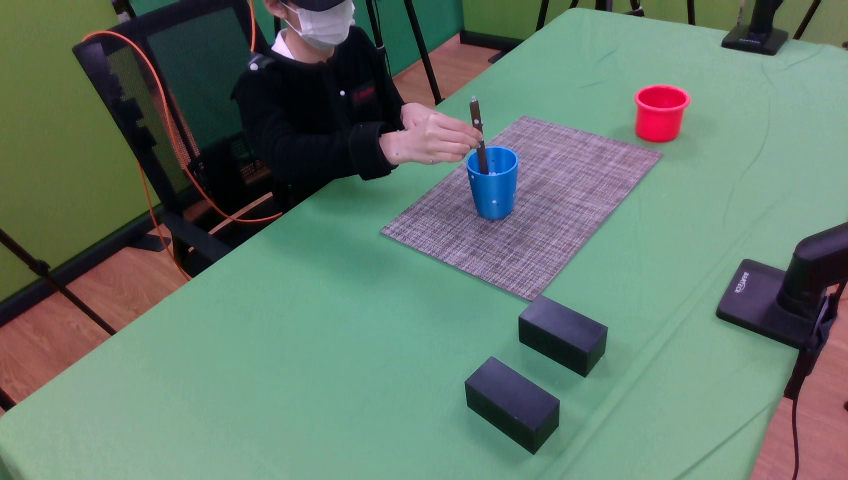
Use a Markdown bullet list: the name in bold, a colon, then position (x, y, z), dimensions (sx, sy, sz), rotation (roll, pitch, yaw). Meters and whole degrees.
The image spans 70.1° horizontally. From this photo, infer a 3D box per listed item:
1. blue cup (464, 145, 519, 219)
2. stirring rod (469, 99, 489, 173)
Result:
- **blue cup**: position (0.116, -0.090, 0.997), dimensions (0.092, 0.101, 0.092), rotation (-5, 41, 5)
- **stirring rod**: position (0.087, -0.139, 0.918), dimensions (0.014, 0.177, 0.005), rotation (-27, 47, -10)
